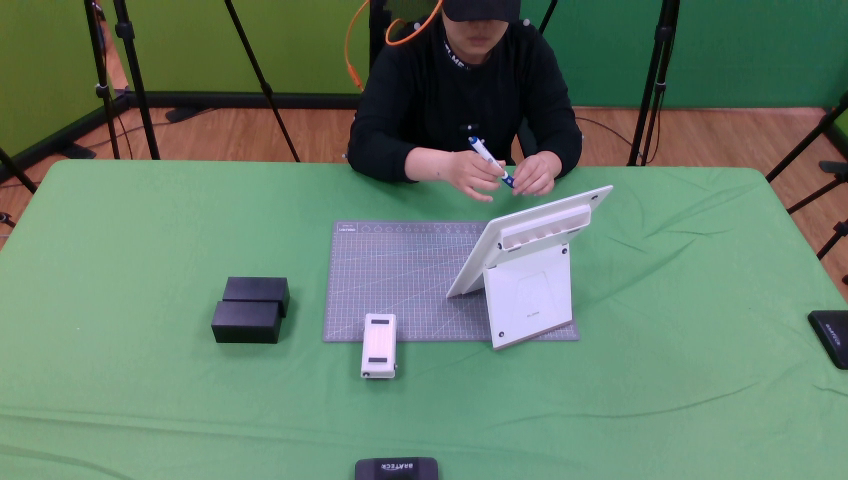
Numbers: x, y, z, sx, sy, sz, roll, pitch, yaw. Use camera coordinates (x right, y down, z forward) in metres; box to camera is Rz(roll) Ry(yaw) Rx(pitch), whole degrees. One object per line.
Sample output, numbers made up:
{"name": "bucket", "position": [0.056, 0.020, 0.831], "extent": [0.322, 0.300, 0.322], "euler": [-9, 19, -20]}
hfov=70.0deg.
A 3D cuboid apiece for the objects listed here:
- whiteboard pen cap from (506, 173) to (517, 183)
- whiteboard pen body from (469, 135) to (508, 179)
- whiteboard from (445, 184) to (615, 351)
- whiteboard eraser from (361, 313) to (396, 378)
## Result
{"name": "whiteboard pen cap", "position": [0.169, -0.119, 1.163], "extent": [0.018, 0.018, 0.033], "euler": [19, 18, 14]}
{"name": "whiteboard pen body", "position": [0.126, -0.147, 1.119], "extent": [0.017, 0.141, 0.017], "euler": [-23, 47, 28]}
{"name": "whiteboard", "position": [0.187, 0.065, 0.989], "extent": [0.217, 0.306, 0.143], "euler": [-15, 68, -18]}
{"name": "whiteboard eraser", "position": [-0.075, 0.176, 1.006], "extent": [0.055, 0.042, 0.112], "euler": [2, 49, -4]}
